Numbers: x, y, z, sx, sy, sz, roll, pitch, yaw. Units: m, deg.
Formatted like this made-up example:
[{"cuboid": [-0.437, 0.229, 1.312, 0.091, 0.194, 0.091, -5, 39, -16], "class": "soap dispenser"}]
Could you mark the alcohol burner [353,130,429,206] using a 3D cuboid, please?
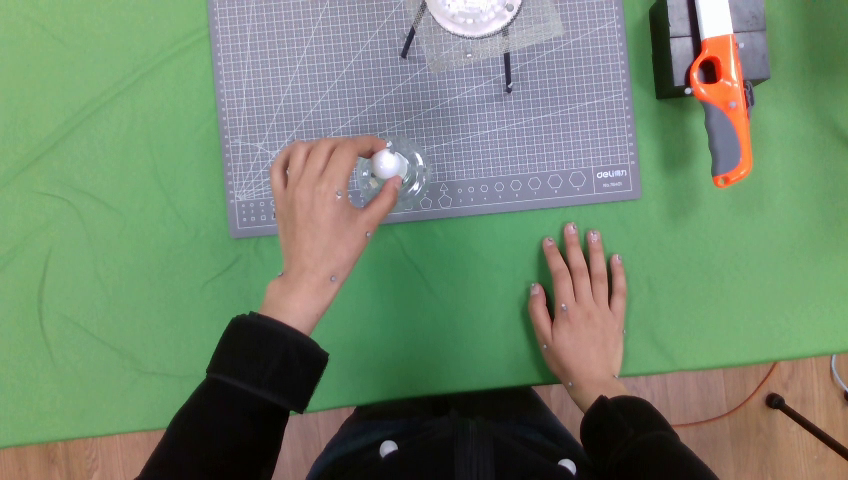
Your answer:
[{"cuboid": [-0.034, -0.073, 0.604, 0.078, 0.119, 0.078, 0, 90, -1], "class": "alcohol burner"}]

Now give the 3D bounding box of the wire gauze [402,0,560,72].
[{"cuboid": [0.043, -0.220, 0.530, 0.125, 0.011, 0.121, -19, 90, -3], "class": "wire gauze"}]

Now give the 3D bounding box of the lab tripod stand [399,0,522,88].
[{"cuboid": [0.043, -0.226, 0.596, 0.148, 0.131, 0.148, 0, 88, 1], "class": "lab tripod stand"}]

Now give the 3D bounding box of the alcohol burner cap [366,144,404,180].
[{"cuboid": [-0.038, -0.073, 0.556, 0.034, 0.048, 0.034, 0, 90, 4], "class": "alcohol burner cap"}]

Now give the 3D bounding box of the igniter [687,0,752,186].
[{"cuboid": [0.291, -0.193, 0.608, 0.057, 0.025, 0.276, -7, 89, 11], "class": "igniter"}]

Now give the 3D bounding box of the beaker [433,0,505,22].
[{"cuboid": [0.036, -0.224, 0.482, 0.084, 0.100, 0.074, -7, 88, 0], "class": "beaker"}]
